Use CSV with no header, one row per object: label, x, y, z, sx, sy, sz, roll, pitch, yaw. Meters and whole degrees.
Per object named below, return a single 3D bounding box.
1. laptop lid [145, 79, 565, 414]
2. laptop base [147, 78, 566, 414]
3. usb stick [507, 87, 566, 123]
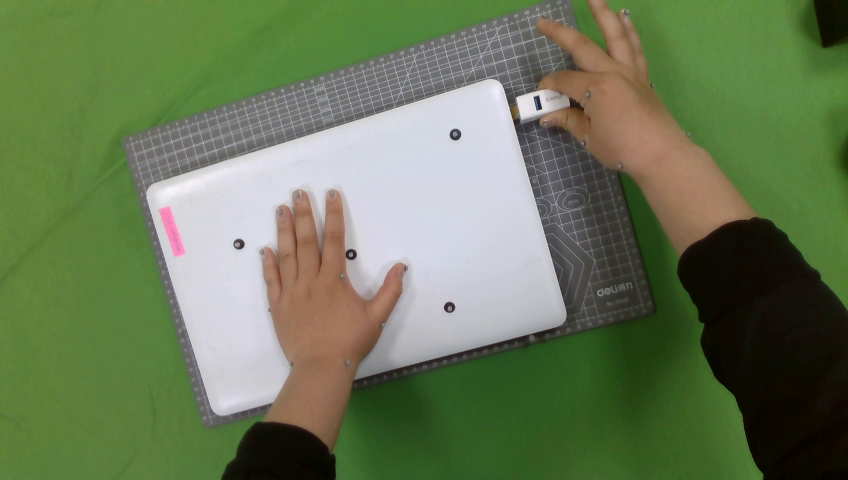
laptop lid,-0.069,0.013,0.565,0.356,0.013,0.242,-15,94,6
laptop base,-0.068,0.011,0.574,0.354,0.023,0.236,-17,95,6
usb stick,0.095,-0.119,0.541,0.059,0.027,0.021,-10,88,5
